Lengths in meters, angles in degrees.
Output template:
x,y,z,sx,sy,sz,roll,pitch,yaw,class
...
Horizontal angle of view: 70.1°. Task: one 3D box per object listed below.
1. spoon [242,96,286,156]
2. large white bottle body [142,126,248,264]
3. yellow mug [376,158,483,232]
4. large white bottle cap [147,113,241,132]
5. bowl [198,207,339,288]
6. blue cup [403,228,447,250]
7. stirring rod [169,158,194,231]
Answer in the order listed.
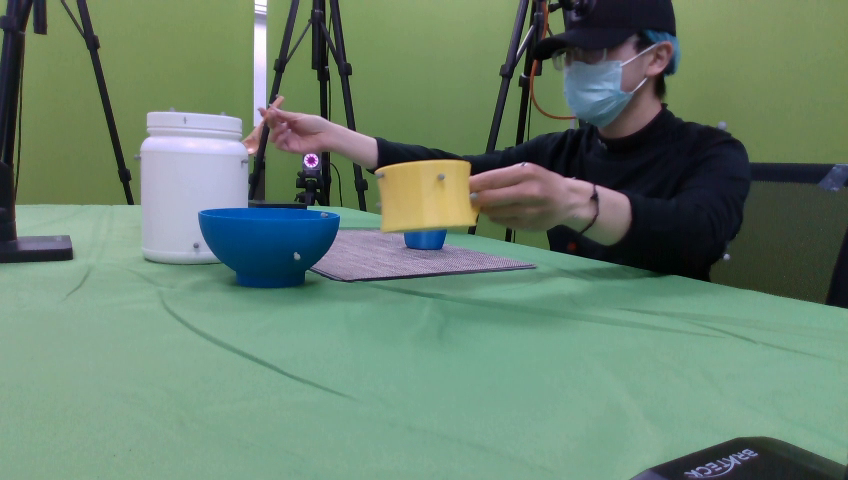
x,y,z,sx,sy,sz,roll,pitch,yaw,class
-0.311,-0.224,1.177,0.041,0.021,0.193,11,53,12,spoon
-0.300,-0.068,0.797,0.131,0.184,0.130,2,7,0,large white bottle body
0.014,-0.045,0.631,0.131,0.064,0.099,-3,-2,-41,yellow mug
-0.297,-0.151,0.786,0.115,0.018,0.115,2,7,0,large white bottle cap
-0.171,0.008,0.671,0.151,0.077,0.151,2,7,0,bowl
0.003,-0.039,0.966,0.093,0.100,0.092,4,9,0,blue cup
-0.424,-0.082,1.060,0.014,0.006,0.175,2,50,-10,stirring rod
